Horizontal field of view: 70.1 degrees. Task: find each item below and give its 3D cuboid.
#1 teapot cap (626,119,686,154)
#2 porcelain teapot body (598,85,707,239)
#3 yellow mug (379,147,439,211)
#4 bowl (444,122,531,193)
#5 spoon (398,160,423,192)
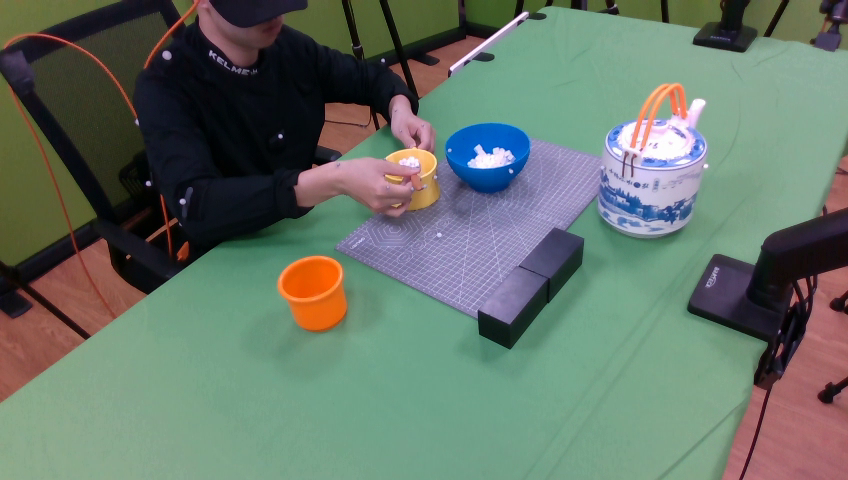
[{"bbox_3d":[0.338,-0.153,0.882,0.085,0.044,0.085,-3,38,3],"label":"teapot cap"},{"bbox_3d":[0.363,-0.137,0.921,0.144,0.226,0.206,28,51,36],"label":"porcelain teapot body"},{"bbox_3d":[-0.023,-0.117,1.071,0.100,0.064,0.130,0,41,7],"label":"yellow mug"},{"bbox_3d":[0.113,-0.136,1.063,0.151,0.077,0.150,-4,41,4],"label":"bowl"},{"bbox_3d":[-0.019,-0.105,0.975,0.042,0.021,0.193,-9,16,-2],"label":"spoon"}]
